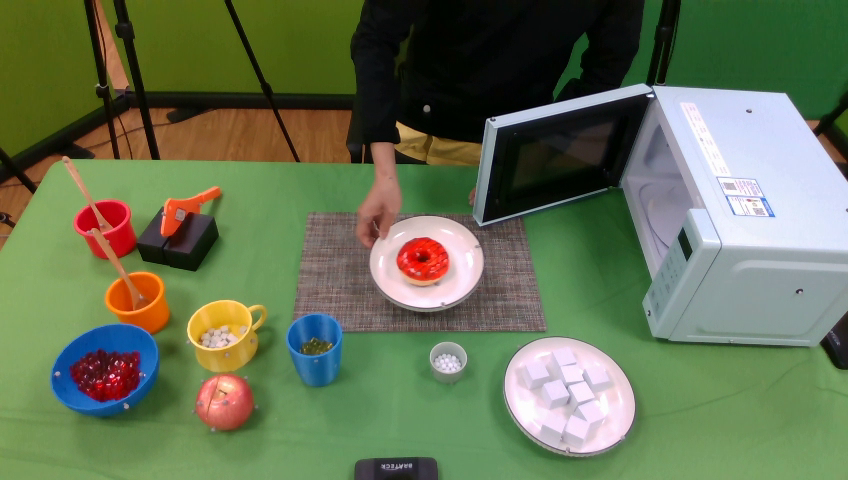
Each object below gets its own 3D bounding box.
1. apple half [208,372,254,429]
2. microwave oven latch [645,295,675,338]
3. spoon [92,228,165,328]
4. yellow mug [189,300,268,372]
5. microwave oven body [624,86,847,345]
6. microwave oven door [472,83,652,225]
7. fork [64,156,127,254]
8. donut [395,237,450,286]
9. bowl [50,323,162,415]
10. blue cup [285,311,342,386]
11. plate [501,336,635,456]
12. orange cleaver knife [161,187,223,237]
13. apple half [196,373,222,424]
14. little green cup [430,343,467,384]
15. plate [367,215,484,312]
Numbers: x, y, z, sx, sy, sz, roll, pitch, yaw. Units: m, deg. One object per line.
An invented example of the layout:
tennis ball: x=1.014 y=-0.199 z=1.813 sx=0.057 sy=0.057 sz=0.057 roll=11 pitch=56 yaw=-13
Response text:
apple half: x=-0.283 y=0.244 z=0.908 sx=0.053 sy=0.075 sz=0.080 roll=7 pitch=42 yaw=-1
microwave oven latch: x=0.411 y=0.134 z=1.061 sx=0.030 sy=0.029 sz=0.078 roll=3 pitch=45 yaw=0
spoon: x=-0.496 y=0.063 z=1.014 sx=0.041 sy=0.194 sz=0.021 roll=-34 pitch=13 yaw=-32
yellow mug: x=-0.315 y=0.149 z=1.001 sx=0.131 sy=0.064 sz=0.099 roll=-33 pitch=55 yaw=-31
microwave oven body: x=0.567 y=-0.053 z=1.118 sx=0.326 sy=0.261 sz=0.439 roll=2 pitch=45 yaw=-1
microwave oven door: x=0.272 y=-0.171 z=1.205 sx=0.356 sy=0.245 sz=0.039 roll=-16 pitch=49 yaw=-18
fork: x=-0.614 y=-0.064 z=1.130 sx=0.028 sy=0.018 sz=0.207 roll=-29 pitch=97 yaw=-16
donut: x=-0.003 y=0.038 z=1.080 sx=0.099 sy=0.048 sz=0.098 roll=1 pitch=52 yaw=-1
bowl: x=-0.472 y=0.209 z=0.924 sx=0.151 sy=0.077 sz=0.150 roll=3 pitch=45 yaw=-2
blue cup: x=-0.170 y=0.179 z=0.958 sx=0.093 sy=0.101 sz=0.092 roll=1 pitch=44 yaw=-1
plate: x=0.225 y=0.248 z=0.963 sx=0.208 sy=0.039 sz=0.206 roll=2 pitch=46 yaw=-2
orange cleaver knife: x=-0.448 y=-0.058 z=1.180 sx=0.012 sy=0.077 sz=0.211 roll=13 pitch=17 yaw=6
apple half: x=-0.322 y=0.240 z=0.907 sx=0.033 sy=0.081 sz=0.081 roll=7 pitch=46 yaw=0
little green cup: x=0.038 y=0.203 z=0.994 sx=0.061 sy=0.039 sz=0.061 roll=2 pitch=46 yaw=-2
plate: x=0.003 y=0.044 z=1.089 sx=0.209 sy=0.038 sz=0.208 roll=0 pitch=52 yaw=0
